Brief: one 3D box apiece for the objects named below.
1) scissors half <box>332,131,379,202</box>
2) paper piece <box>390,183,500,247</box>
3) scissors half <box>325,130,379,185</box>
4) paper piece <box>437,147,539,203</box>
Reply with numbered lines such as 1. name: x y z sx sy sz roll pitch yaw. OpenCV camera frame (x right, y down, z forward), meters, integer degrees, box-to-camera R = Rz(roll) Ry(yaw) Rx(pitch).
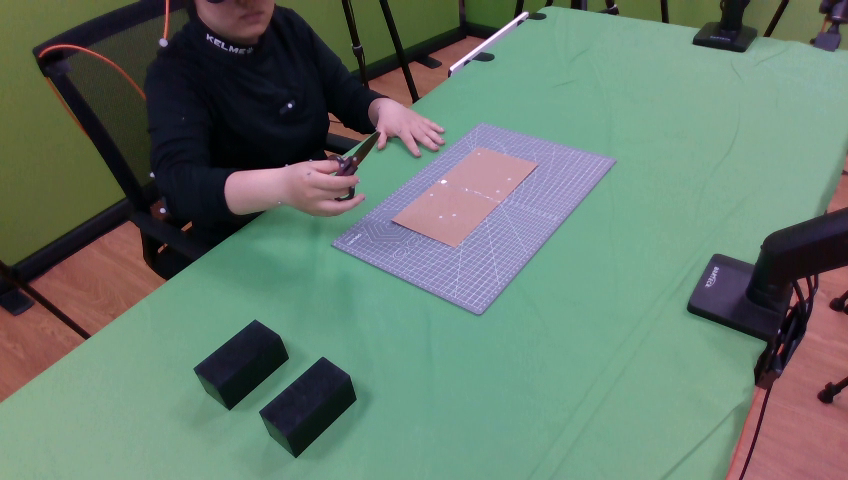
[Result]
1. scissors half: -0.098 -0.105 0.873 0.013 0.175 0.040 -18 71 -34
2. paper piece: 0.036 -0.048 1.027 0.134 0.004 0.136 23 48 30
3. scissors half: -0.106 -0.122 0.877 0.013 0.040 0.174 -24 0 -36
4. paper piece: 0.117 -0.122 1.104 0.135 0.009 0.138 26 49 29
